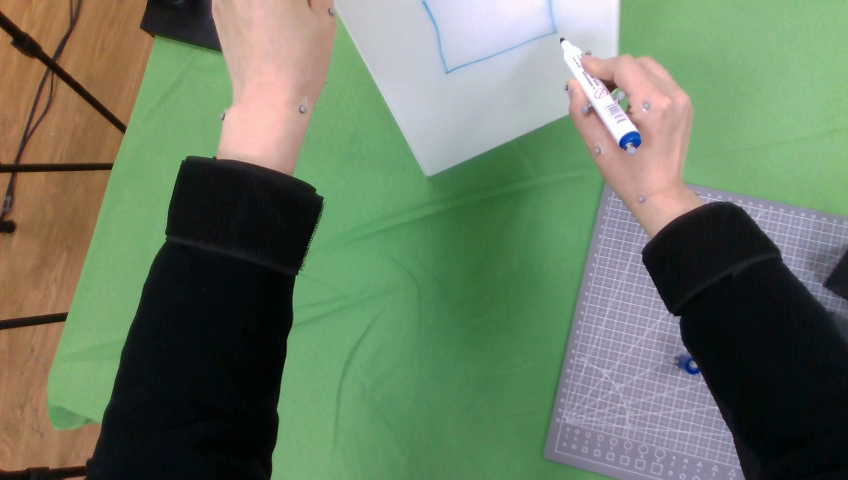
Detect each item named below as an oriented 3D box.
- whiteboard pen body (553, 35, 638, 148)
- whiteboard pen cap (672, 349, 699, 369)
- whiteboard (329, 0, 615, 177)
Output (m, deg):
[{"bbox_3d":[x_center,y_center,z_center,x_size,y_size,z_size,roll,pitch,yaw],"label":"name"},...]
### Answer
[{"bbox_3d":[0.125,-0.119,0.461,0.017,0.017,0.139,-22,51,5],"label":"whiteboard pen body"},{"bbox_3d":[0.251,0.113,0.584,0.018,0.033,0.018,0,87,7],"label":"whiteboard pen cap"},{"bbox_3d":[0.038,-0.227,0.532,0.217,0.308,0.142,-23,64,6],"label":"whiteboard"}]
